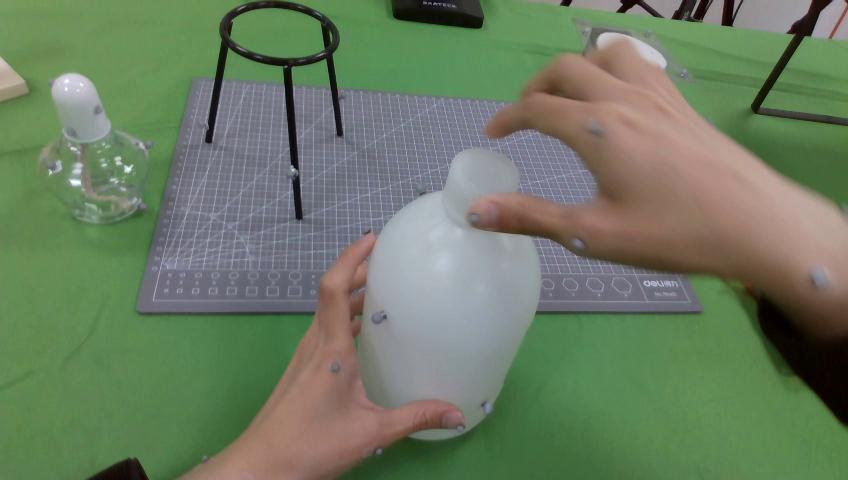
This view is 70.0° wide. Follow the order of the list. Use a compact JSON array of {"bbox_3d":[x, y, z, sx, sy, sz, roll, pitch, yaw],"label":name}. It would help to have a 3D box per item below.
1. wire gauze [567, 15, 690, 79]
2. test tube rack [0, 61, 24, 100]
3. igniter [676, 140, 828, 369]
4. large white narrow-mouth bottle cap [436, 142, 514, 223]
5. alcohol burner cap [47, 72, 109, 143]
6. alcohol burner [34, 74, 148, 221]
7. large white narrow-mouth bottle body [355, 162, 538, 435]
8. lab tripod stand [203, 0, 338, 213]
[{"bbox_3d":[0.236,-0.226,0.714,0.122,0.011,0.123,3,47,-12],"label":"wire gauze"},{"bbox_3d":[-0.471,-0.130,0.478,0.066,0.086,0.242,38,51,22],"label":"test tube rack"},{"bbox_3d":[0.301,0.000,0.571,0.057,0.025,0.273,11,46,-18],"label":"igniter"},{"bbox_3d":[0.025,-0.028,0.300,0.038,0.024,0.037,6,47,-6],"label":"large white narrow-mouth bottle cap"},{"bbox_3d":[-0.246,-0.095,0.427,0.034,0.048,0.033,5,53,-6],"label":"alcohol burner cap"},{"bbox_3d":[-0.252,-0.072,0.454,0.078,0.120,0.077,8,45,-7],"label":"alcohol burner"},{"bbox_3d":[0.013,0.031,0.362,0.102,0.196,0.101,6,46,-6],"label":"large white narrow-mouth bottle body"},{"bbox_3d":[-0.120,-0.117,0.508,0.149,0.132,0.147,8,47,-8],"label":"lab tripod stand"}]
